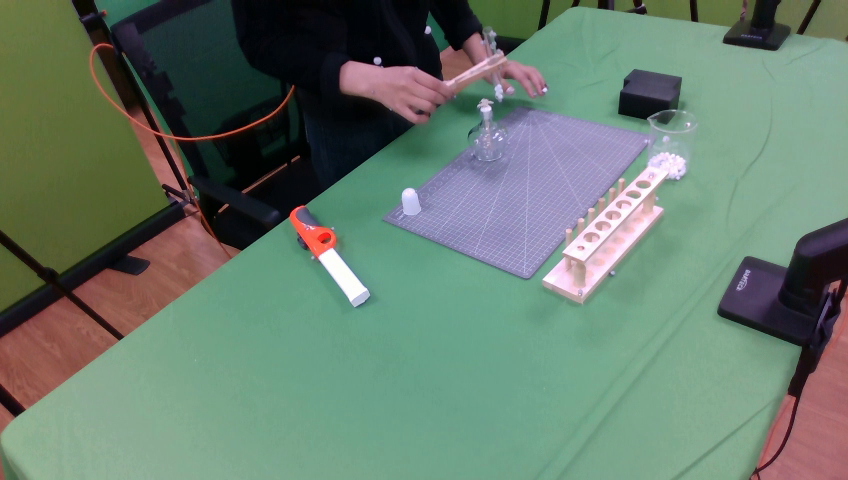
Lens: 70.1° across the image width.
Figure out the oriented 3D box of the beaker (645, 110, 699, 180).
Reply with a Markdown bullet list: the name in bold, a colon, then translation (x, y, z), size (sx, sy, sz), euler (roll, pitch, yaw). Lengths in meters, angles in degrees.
- **beaker**: translation (0.417, -0.160, 1.032), size (0.083, 0.101, 0.074), euler (25, 51, 34)

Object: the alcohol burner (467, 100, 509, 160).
- **alcohol burner**: translation (0.118, -0.210, 1.130), size (0.078, 0.119, 0.077), euler (-5, 43, 6)

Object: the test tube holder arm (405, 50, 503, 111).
- **test tube holder arm**: translation (0.050, -0.260, 0.988), size (0.178, 0.015, 0.013), euler (-28, 54, 4)

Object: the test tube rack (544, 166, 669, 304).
- **test tube rack**: translation (0.274, -0.018, 0.903), size (0.066, 0.085, 0.243), euler (26, 51, 35)

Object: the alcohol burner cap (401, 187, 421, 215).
- **alcohol burner cap**: translation (-0.025, -0.070, 1.048), size (0.034, 0.048, 0.033), euler (-5, 42, 5)

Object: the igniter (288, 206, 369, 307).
- **igniter**: translation (-0.163, 0.017, 0.986), size (0.057, 0.025, 0.274), euler (-33, 45, -12)

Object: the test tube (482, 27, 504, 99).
- **test tube**: translation (0.113, -0.285, 0.985), size (0.017, 0.151, 0.017), euler (-7, 59, 12)

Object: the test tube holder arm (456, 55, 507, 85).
- **test tube holder arm**: translation (0.092, -0.275, 0.981), size (0.088, 0.015, 0.010), euler (-22, 55, 8)
